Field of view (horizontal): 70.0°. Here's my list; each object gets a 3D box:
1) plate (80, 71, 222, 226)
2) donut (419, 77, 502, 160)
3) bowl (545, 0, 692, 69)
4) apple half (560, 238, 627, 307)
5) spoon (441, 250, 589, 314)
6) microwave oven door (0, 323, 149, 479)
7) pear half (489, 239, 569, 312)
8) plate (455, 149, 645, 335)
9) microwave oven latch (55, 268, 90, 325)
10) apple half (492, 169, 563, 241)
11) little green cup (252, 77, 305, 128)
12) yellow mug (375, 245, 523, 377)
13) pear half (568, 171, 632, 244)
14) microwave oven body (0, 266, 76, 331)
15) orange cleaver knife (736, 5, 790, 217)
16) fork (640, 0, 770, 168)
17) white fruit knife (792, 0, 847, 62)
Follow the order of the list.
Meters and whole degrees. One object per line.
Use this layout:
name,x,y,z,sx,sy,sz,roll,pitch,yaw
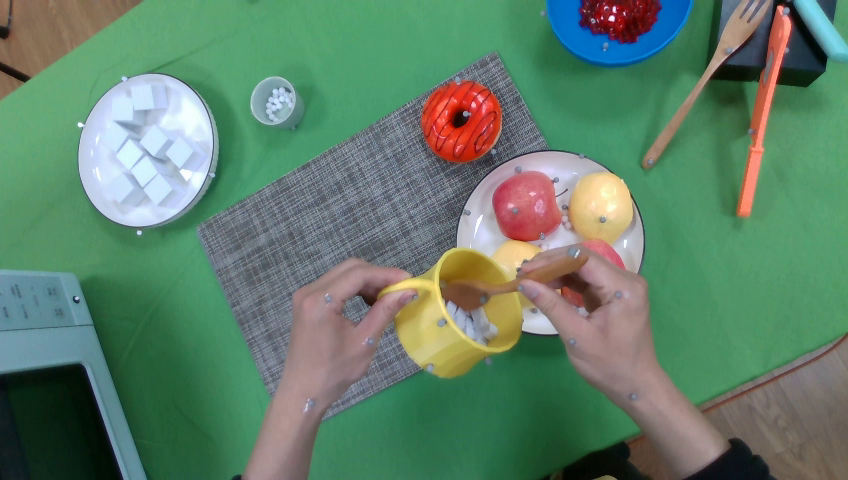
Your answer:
plate,-0.361,-0.120,0.814,0.207,0.039,0.207,-1,86,13
donut,0.043,-0.142,0.714,0.099,0.048,0.099,-1,88,15
bowl,0.211,-0.254,0.670,0.151,0.077,0.151,-1,87,13
apple half,0.176,0.037,0.657,0.081,0.033,0.081,3,95,35
spoon,0.067,0.037,0.487,0.042,0.193,0.021,33,66,-15
microwave oven door,-0.413,0.268,0.676,0.039,0.245,0.354,-26,81,10
pear half,0.118,0.047,0.674,0.109,0.056,0.076,34,99,5
plate,0.140,0.002,0.686,0.208,0.038,0.208,-1,86,13
microwave oven latch,-0.475,0.077,0.808,0.030,0.029,0.079,-23,82,10
apple half,0.114,-0.040,0.677,0.074,0.053,0.080,-11,87,13
little green cup,-0.184,-0.173,0.776,0.061,0.039,0.061,-1,86,14
yellow mug,0.018,0.059,0.529,0.064,0.132,0.099,-39,44,40
pear half,0.188,-0.031,0.662,0.070,0.031,0.088,3,97,36
microwave oven body,-0.558,0.292,0.713,0.326,0.261,0.440,-26,82,10
orange cleaver knife,0.349,-0.130,0.627,0.012,0.077,0.212,9,114,19
fork,0.291,-0.165,0.640,0.028,0.018,0.208,30,114,5
white fruit knife,0.373,-0.266,0.614,0.027,0.016,0.206,-21,78,-19
